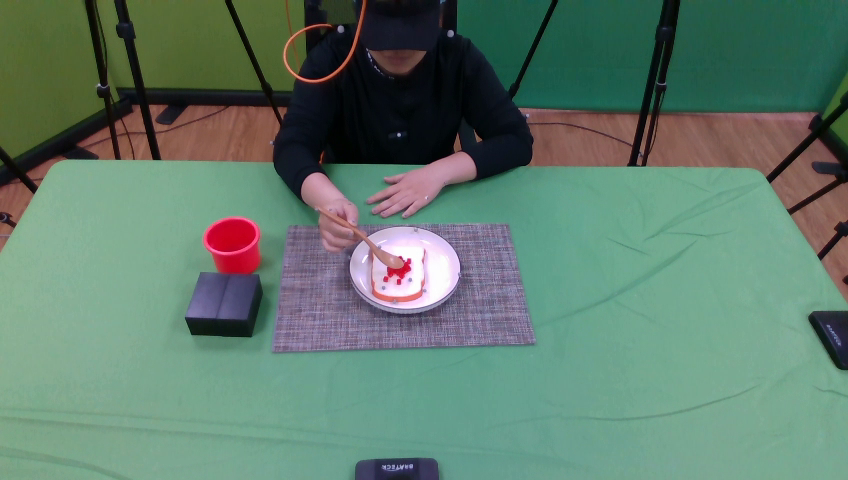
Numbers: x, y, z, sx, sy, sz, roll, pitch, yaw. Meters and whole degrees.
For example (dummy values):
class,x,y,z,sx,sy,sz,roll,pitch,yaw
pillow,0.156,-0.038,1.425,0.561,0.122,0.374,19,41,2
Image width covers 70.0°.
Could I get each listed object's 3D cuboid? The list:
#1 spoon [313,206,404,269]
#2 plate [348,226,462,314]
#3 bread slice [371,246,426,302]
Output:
class,x,y,z,sx,sy,sz,roll,pitch,yaw
spoon,-0.112,-0.006,1.056,0.194,0.021,0.041,40,23,-24
plate,-0.035,0.058,1.123,0.209,0.038,0.208,2,45,-2
bread slice,-0.047,0.061,1.123,0.105,0.019,0.130,0,45,-3
